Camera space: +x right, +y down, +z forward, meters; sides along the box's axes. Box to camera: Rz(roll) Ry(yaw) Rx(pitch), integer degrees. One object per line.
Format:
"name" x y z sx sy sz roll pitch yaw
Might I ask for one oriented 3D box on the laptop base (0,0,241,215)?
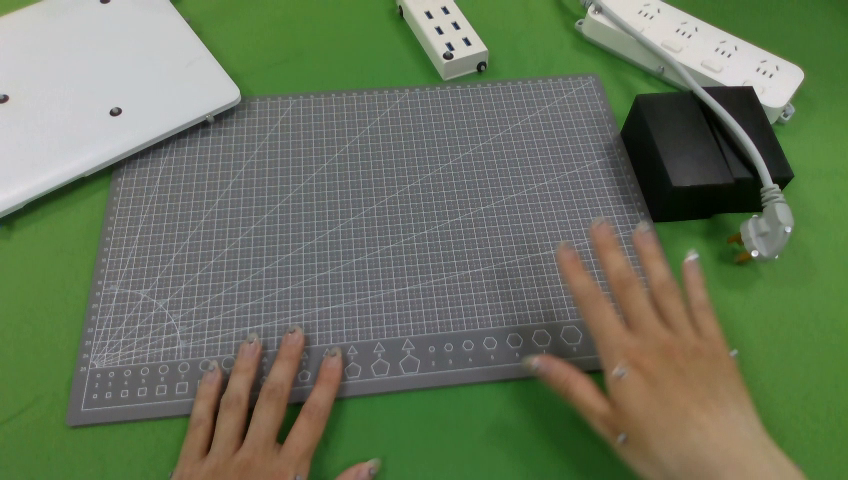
"laptop base" -0.374 -0.120 0.550 0.354 0.023 0.233 -32 67 -19

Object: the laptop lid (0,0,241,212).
"laptop lid" -0.373 -0.125 0.539 0.357 0.013 0.239 -30 65 -18

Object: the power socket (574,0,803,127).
"power socket" 0.259 -0.186 0.597 0.225 0.033 0.072 35 64 19

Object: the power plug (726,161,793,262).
"power plug" 0.264 -0.017 0.481 0.035 0.052 0.072 19 60 -23

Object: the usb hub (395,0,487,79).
"usb hub" 0.014 -0.217 0.615 0.049 0.025 0.124 -20 61 -13
